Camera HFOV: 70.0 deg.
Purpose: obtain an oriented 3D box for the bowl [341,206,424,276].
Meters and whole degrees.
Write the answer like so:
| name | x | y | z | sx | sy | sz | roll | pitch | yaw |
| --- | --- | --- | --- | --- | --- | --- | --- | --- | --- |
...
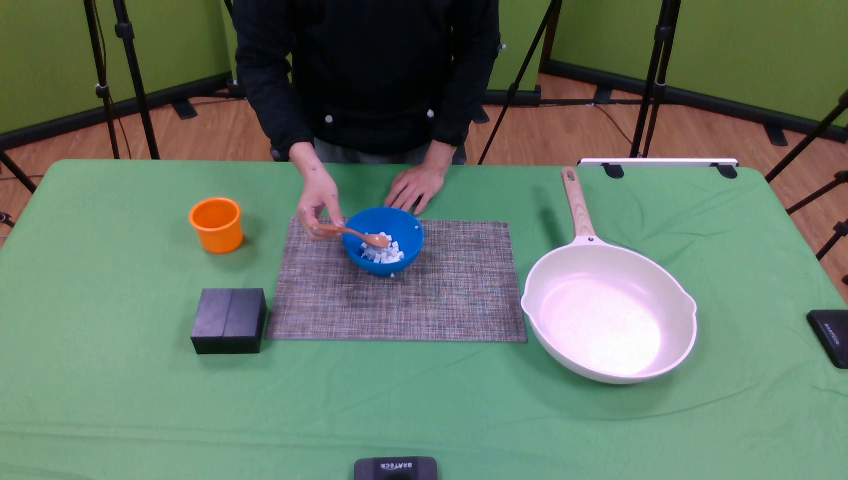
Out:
| name | x | y | z | sx | sy | sz | roll | pitch | yaw |
| --- | --- | --- | --- | --- | --- | --- | --- | --- | --- |
| bowl | -0.079 | 0.014 | 1.134 | 0.151 | 0.077 | 0.150 | 2 | 46 | -2 |

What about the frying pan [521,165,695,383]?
| name | x | y | z | sx | sy | sz | roll | pitch | yaw |
| --- | --- | --- | --- | --- | --- | --- | --- | --- | --- |
| frying pan | 0.312 | 0.044 | 1.123 | 0.307 | 0.103 | 0.484 | 1 | 55 | -5 |

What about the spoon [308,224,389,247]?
| name | x | y | z | sx | sy | sz | roll | pitch | yaw |
| --- | --- | --- | --- | --- | --- | --- | --- | --- | --- |
| spoon | -0.129 | -0.012 | 1.055 | 0.041 | 0.021 | 0.194 | 45 | 16 | 33 |
